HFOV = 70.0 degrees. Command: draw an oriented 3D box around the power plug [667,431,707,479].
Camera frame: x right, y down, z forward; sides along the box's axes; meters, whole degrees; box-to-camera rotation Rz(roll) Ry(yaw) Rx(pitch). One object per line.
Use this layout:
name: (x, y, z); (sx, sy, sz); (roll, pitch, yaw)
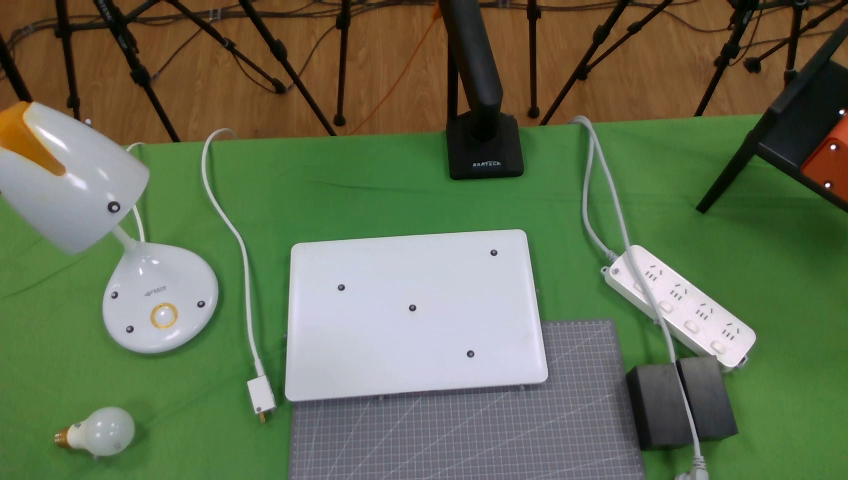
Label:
power plug: (0.327, 0.281, 0.752); (0.035, 0.053, 0.072); (30, 57, -14)

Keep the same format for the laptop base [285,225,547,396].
laptop base: (-0.017, 0.094, 0.863); (0.354, 0.023, 0.233); (-4, 66, -2)

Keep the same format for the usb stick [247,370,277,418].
usb stick: (-0.213, 0.205, 0.803); (0.027, 0.021, 0.059); (-16, 73, -9)

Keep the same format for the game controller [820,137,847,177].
game controller: (0.575, -0.080, 0.726); (0.097, 0.052, 0.154); (-39, 67, -17)

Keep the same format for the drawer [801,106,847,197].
drawer: (0.605, -0.114, 0.729); (0.193, 0.074, 0.211); (40, 69, 19)

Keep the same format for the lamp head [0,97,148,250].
lamp head: (-0.337, -0.069, 0.550); (0.112, 0.124, 0.111); (-26, 38, 22)

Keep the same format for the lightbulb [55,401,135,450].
lightbulb: (-0.422, 0.239, 0.772); (0.107, 0.060, 0.059); (-11, 62, 11)

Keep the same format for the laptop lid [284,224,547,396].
laptop lid: (-0.017, 0.091, 0.852); (0.357, 0.013, 0.239); (-2, 64, -1)

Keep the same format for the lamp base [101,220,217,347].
lamp base: (-0.385, 0.032, 0.803); (0.160, 0.182, 0.177); (-32, 64, -15)

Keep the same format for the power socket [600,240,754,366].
power socket: (0.356, 0.086, 0.857); (0.225, 0.033, 0.072); (41, 70, 19)

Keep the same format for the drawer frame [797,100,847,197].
drawer frame: (0.605, -0.117, 0.729); (0.200, 0.083, 0.213); (39, 69, 19)
